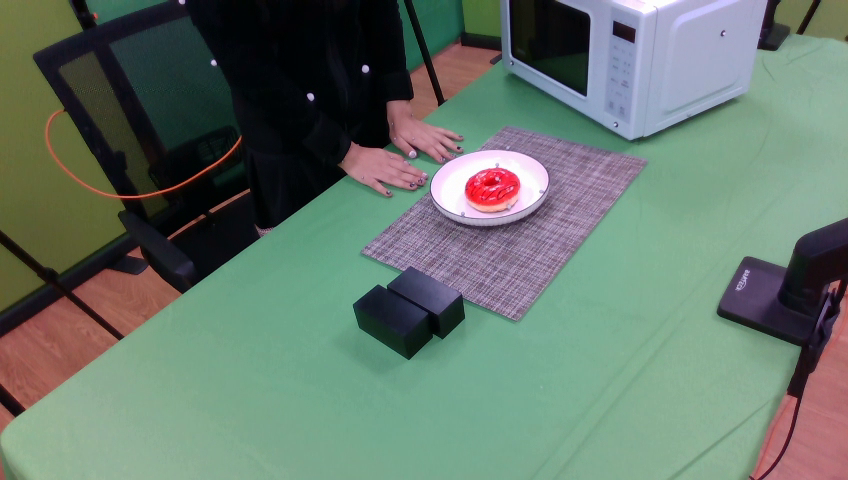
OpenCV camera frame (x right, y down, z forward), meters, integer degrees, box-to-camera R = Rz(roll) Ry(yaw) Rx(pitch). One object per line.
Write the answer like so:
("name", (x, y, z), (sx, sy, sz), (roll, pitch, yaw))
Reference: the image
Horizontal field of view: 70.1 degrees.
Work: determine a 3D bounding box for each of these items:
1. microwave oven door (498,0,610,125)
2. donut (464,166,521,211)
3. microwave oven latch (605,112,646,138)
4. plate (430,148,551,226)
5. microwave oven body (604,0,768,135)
("microwave oven door", (0.261, -0.410, 1.219), (0.039, 0.245, 0.352), (-24, 42, -17))
("donut", (0.117, -0.089, 1.031), (0.099, 0.048, 0.098), (-7, 41, 7))
("microwave oven latch", (0.375, -0.217, 1.130), (0.030, 0.029, 0.078), (-24, 42, -16))
("plate", (0.114, -0.089, 1.049), (0.209, 0.038, 0.208), (-5, 40, 5))
("microwave oven body", (0.410, -0.441, 1.235), (0.327, 0.261, 0.437), (-25, 42, -16))
